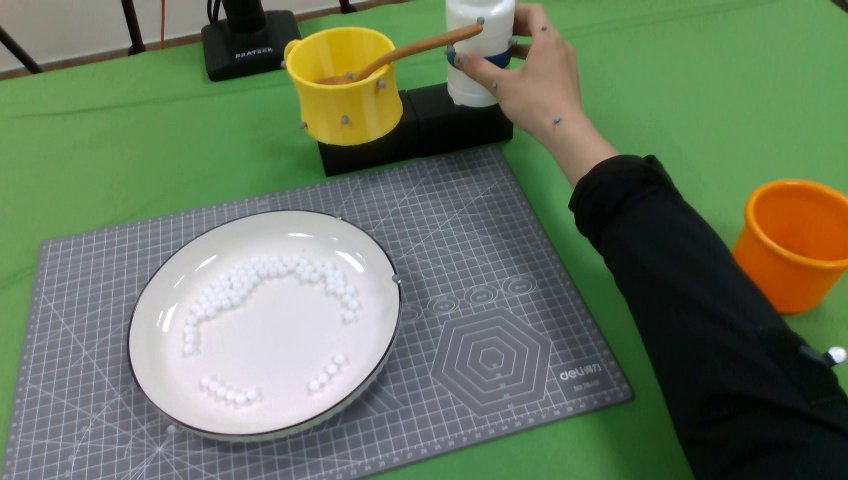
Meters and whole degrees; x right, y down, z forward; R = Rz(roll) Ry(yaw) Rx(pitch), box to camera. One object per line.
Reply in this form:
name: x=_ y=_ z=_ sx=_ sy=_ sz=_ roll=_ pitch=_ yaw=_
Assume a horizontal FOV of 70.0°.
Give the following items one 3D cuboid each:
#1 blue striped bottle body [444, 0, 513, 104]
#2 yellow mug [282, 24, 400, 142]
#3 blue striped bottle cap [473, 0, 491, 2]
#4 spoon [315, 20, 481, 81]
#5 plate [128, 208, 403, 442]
blue striped bottle body: x=0.050 y=-0.195 z=0.567 sx=0.063 sy=0.122 sz=0.062 roll=-2 pitch=50 yaw=2
yellow mug: x=-0.087 y=-0.156 z=0.579 sx=0.130 sy=0.064 sz=0.099 roll=26 pitch=56 yaw=25
blue striped bottle cap: x=0.049 y=-0.228 z=0.528 sx=0.044 sy=0.021 sz=0.044 roll=-4 pitch=50 yaw=5
spoon: x=-0.034 y=-0.160 z=0.536 sx=0.193 sy=0.022 sz=0.041 roll=-12 pitch=37 yaw=38
plate: x=-0.118 y=0.062 z=0.477 sx=0.207 sy=0.039 sz=0.205 roll=-1 pitch=50 yaw=2
